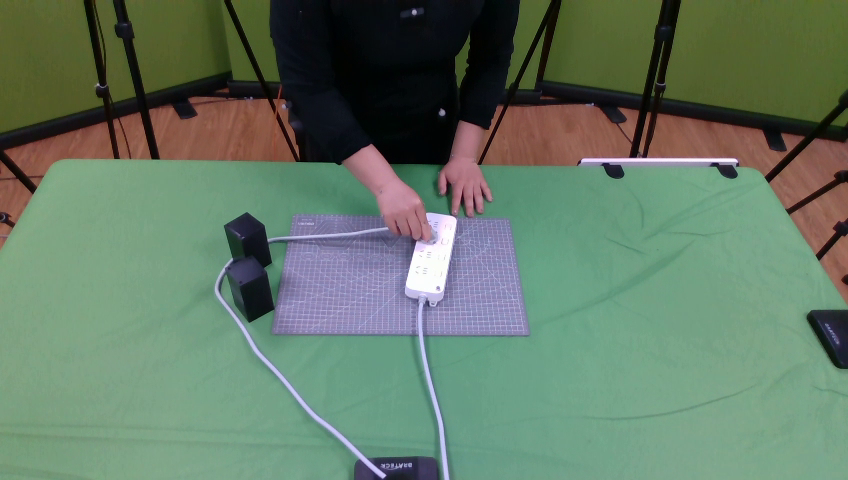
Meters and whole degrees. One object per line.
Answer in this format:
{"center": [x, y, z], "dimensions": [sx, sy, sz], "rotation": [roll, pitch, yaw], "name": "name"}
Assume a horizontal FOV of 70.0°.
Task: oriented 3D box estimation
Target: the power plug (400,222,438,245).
{"center": [-0.008, -0.013, 1.172], "dimensions": [0.072, 0.053, 0.035], "rotation": [23, 50, 15], "name": "power plug"}

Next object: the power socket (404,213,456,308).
{"center": [0.014, 0.030, 1.159], "dimensions": [0.072, 0.033, 0.225], "rotation": [9, 46, 5], "name": "power socket"}
